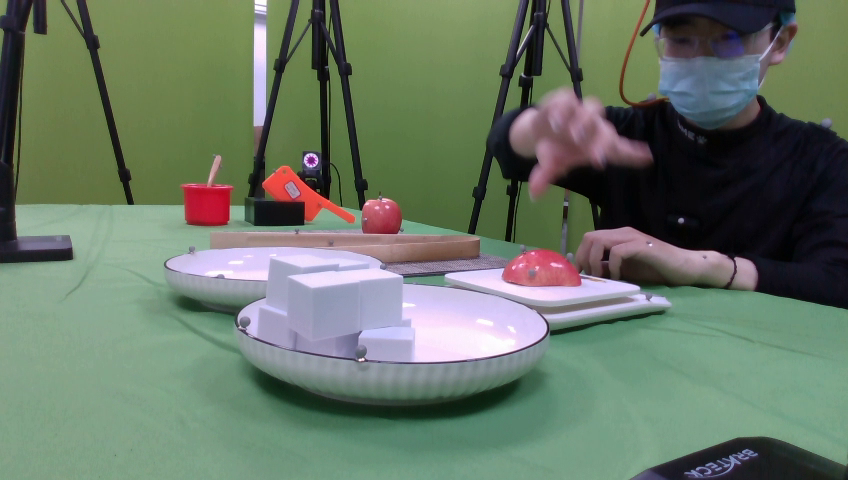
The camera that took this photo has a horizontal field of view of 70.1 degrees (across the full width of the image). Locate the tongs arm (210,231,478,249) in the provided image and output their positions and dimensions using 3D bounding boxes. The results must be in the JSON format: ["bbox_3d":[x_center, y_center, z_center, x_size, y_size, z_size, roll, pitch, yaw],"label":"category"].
[{"bbox_3d":[-0.106,0.004,0.876,0.386,0.026,0.050,0,7,-20],"label":"tongs arm"}]

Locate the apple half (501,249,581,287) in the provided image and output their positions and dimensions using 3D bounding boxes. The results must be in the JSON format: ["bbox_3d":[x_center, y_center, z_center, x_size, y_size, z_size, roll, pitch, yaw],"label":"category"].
[{"bbox_3d":[0.111,0.024,0.585,0.081,0.033,0.081,2,9,0],"label":"apple half"}]

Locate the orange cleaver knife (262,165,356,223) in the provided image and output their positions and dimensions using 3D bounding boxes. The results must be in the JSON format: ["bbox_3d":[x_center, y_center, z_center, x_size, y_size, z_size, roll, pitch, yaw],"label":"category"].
[{"bbox_3d":[-0.243,-0.081,1.292,0.212,0.077,0.012,34,-8,-26],"label":"orange cleaver knife"}]

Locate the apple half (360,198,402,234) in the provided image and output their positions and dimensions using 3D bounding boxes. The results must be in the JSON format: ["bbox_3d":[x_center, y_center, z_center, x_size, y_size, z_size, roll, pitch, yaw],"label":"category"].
[{"bbox_3d":[-0.066,-0.032,1.014,0.053,0.074,0.081,9,6,21],"label":"apple half"}]

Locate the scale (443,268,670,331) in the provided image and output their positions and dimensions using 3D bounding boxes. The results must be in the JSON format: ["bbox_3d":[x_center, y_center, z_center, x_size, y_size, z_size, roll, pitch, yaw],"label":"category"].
[{"bbox_3d":[0.131,0.052,0.602,0.202,0.031,0.148,-3,9,-37],"label":"scale"}]

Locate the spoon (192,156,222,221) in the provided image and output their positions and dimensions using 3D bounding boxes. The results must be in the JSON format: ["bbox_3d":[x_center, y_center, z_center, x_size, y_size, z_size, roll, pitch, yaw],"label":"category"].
[{"bbox_3d":[-0.430,-0.108,1.222,0.041,0.021,0.193,-1,52,0],"label":"spoon"}]

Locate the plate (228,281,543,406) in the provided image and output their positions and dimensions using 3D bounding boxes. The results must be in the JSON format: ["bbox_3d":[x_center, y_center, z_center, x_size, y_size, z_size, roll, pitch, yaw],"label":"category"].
[{"bbox_3d":[-0.025,0.067,0.413,0.208,0.039,0.207,3,7,0],"label":"plate"}]

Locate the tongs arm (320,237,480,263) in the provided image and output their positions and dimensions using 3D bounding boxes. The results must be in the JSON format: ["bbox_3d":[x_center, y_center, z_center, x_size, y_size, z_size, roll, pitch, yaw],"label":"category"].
[{"bbox_3d":[-0.070,0.017,0.801,0.390,0.028,0.028,-2,5,-34],"label":"tongs arm"}]

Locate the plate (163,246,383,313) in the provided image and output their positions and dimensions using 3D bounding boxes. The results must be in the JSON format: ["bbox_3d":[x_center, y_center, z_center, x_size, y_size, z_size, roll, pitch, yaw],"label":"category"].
[{"bbox_3d":[-0.145,0.038,0.600,0.209,0.038,0.209,2,7,0],"label":"plate"}]
